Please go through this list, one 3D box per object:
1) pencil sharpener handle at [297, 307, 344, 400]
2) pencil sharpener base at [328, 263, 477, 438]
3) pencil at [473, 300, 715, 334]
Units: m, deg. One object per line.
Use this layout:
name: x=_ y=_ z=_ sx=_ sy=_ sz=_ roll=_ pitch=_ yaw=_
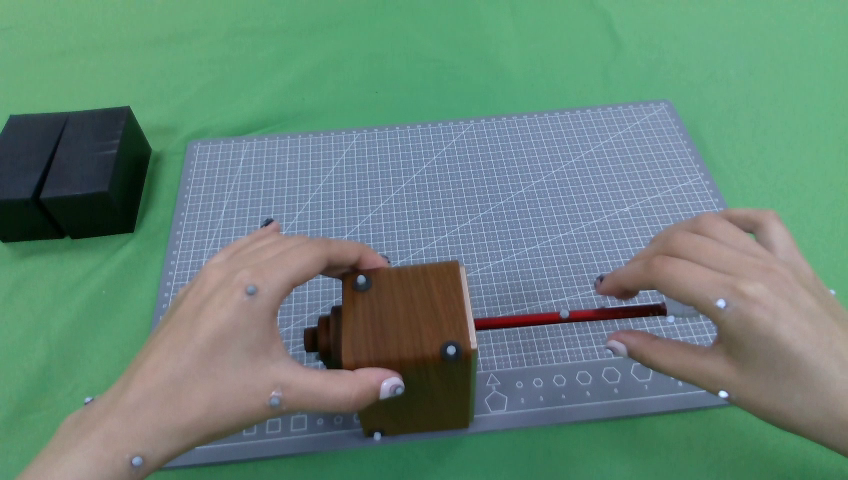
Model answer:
pencil sharpener handle: x=-0.062 y=0.069 z=0.346 sx=0.030 sy=0.068 sz=0.035 roll=-5 pitch=40 yaw=-1
pencil sharpener base: x=-0.011 y=0.069 z=0.360 sx=0.077 sy=0.108 sz=0.060 roll=-5 pitch=52 yaw=-1
pencil: x=0.068 y=0.046 z=0.342 sx=0.194 sy=0.012 sz=0.012 roll=-4 pitch=52 yaw=-2
